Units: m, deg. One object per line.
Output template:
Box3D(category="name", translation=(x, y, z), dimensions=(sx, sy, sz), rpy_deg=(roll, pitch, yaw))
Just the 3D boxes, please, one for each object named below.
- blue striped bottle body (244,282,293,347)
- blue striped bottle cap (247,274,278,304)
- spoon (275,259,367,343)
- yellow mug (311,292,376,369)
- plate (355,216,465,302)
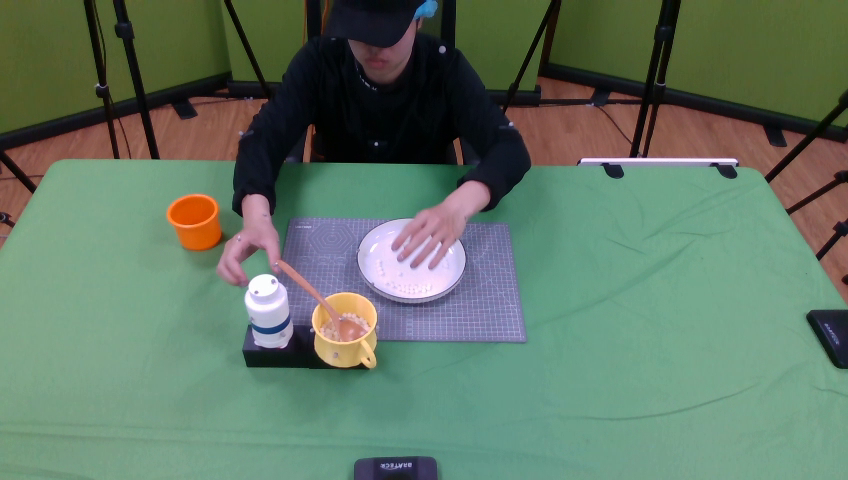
Box3D(category="blue striped bottle body", translation=(-0.241, 0.108, 0.937), dimensions=(0.063, 0.121, 0.062), rpy_deg=(2, 47, -2))
Box3D(category="blue striped bottle cap", translation=(-0.239, 0.072, 0.900), dimensions=(0.044, 0.021, 0.044), rpy_deg=(4, 47, -4))
Box3D(category="spoon", translation=(-0.161, 0.097, 0.946), dimensions=(0.194, 0.021, 0.041), rpy_deg=(48, 58, -6))
Box3D(category="yellow mug", translation=(-0.115, 0.149, 0.945), dimensions=(0.100, 0.064, 0.130), rpy_deg=(-30, 57, -28))
Box3D(category="plate", translation=(-0.026, 0.039, 1.144), dimensions=(0.208, 0.039, 0.206), rpy_deg=(2, 46, -2))
